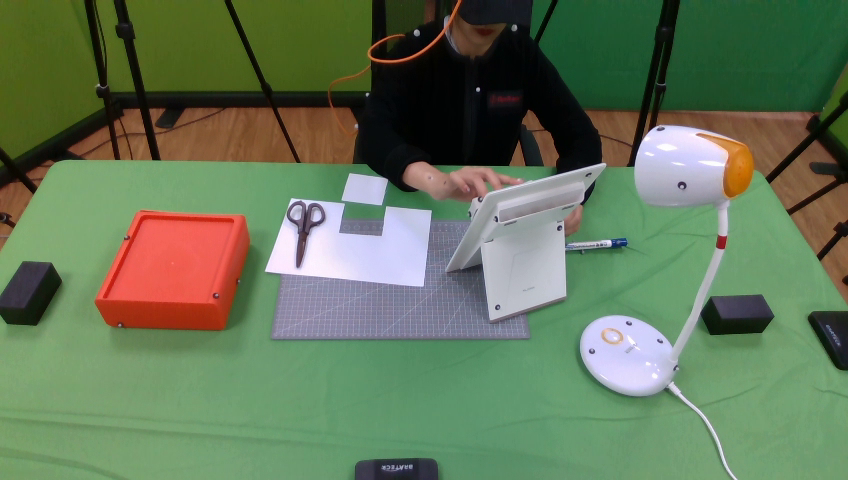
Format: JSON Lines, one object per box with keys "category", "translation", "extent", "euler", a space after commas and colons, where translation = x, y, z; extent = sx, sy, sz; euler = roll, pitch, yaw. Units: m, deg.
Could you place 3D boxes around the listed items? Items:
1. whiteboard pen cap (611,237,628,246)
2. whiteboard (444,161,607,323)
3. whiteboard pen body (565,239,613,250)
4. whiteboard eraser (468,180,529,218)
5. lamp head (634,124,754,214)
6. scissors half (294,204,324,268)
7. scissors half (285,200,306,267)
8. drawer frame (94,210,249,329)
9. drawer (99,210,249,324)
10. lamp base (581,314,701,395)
{"category": "whiteboard pen cap", "translation": [0.390, 0.004, 1.215], "extent": [0.033, 0.018, 0.018], "euler": [-7, 47, -2]}
{"category": "whiteboard", "translation": [0.186, 0.025, 1.029], "extent": [0.217, 0.306, 0.143], "euler": [-14, 68, -18]}
{"category": "whiteboard pen body", "translation": [0.331, 0.008, 1.212], "extent": [0.141, 0.017, 0.017], "euler": [-5, 47, -4]}
{"category": "whiteboard eraser", "translation": [0.131, -0.061, 1.006], "extent": [0.113, 0.056, 0.041], "euler": [-17, 75, -12]}
{"category": "lamp head", "translation": [0.351, -0.089, 0.776], "extent": [0.112, 0.113, 0.122], "euler": [-30, 30, -28]}
{"category": "scissors half", "translation": [-0.231, -0.009, 1.197], "extent": [0.040, 0.013, 0.174], "euler": [21, 44, -9]}
{"category": "scissors half", "translation": [-0.251, -0.014, 1.192], "extent": [0.040, 0.013, 0.174], "euler": [3, 48, -18]}
{"category": "drawer frame", "translation": [-0.435, 0.048, 1.076], "extent": [0.202, 0.083, 0.212], "euler": [2, 47, -3]}
{"category": "drawer", "translation": [-0.435, 0.044, 1.081], "extent": [0.194, 0.073, 0.210], "euler": [3, 47, -2]}
{"category": "lamp base", "translation": [0.361, 0.145, 0.972], "extent": [0.178, 0.181, 0.160], "euler": [34, 53, 23]}
